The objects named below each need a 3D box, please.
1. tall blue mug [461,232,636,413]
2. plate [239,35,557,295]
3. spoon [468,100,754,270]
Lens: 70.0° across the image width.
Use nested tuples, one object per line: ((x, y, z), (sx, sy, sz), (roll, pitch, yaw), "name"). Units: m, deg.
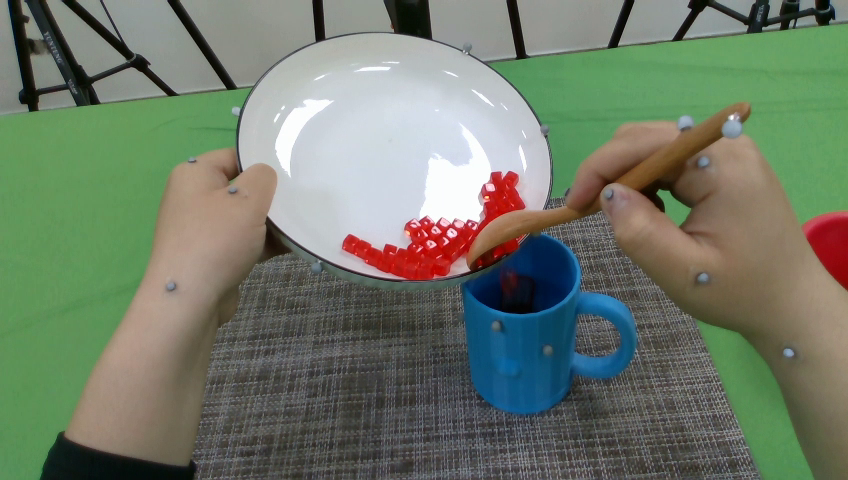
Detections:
((0.082, 0.056, 0.417), (0.107, 0.109, 0.077), (-10, 43, -1), "tall blue mug")
((-0.015, -0.053, 0.409), (0.208, 0.039, 0.205), (5, 59, -8), "plate")
((0.073, -0.017, 0.288), (0.041, 0.193, 0.021), (-36, 94, -30), "spoon")
